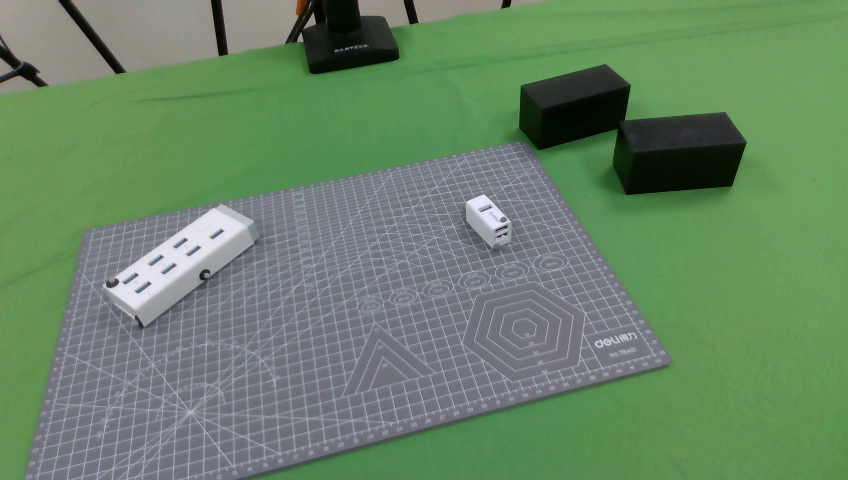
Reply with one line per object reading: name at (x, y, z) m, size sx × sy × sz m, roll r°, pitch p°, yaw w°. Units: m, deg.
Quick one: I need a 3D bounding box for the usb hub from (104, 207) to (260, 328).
usb hub at (-0.207, 0.020, 0.528) m, size 0.049 × 0.025 × 0.125 m, roll 25°, pitch 51°, yaw 29°

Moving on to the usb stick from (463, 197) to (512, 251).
usb stick at (0.054, -0.018, 0.541) m, size 0.021 × 0.027 × 0.058 m, roll -26°, pitch 44°, yaw -15°
